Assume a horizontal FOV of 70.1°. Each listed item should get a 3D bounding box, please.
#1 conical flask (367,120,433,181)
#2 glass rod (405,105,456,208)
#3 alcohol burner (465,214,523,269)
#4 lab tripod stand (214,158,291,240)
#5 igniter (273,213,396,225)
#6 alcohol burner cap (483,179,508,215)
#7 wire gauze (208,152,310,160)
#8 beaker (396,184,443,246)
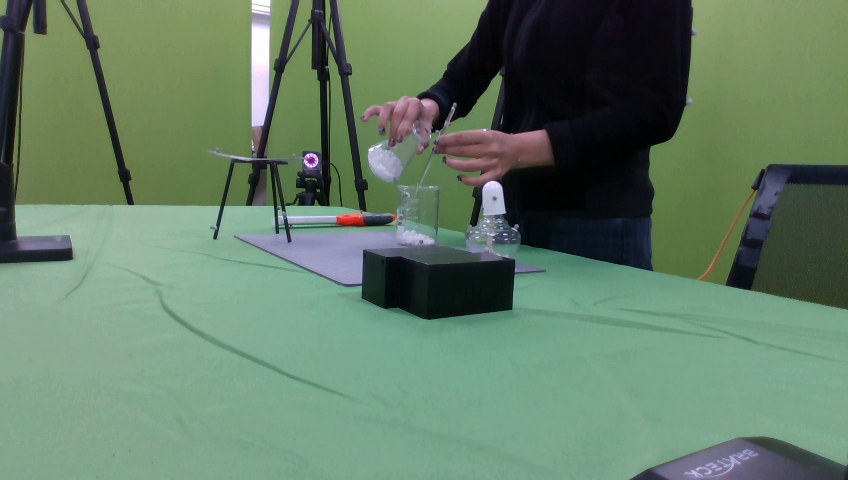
[{"bbox_3d":[-0.036,-0.157,1.019,0.076,0.075,0.121,-4,-19,-42],"label":"conical flask"},{"bbox_3d":[0.009,-0.131,0.976,0.008,0.199,0.008,19,33,-13],"label":"glass rod"},{"bbox_3d":[0.094,-0.022,0.815,0.078,0.119,0.078,0,7,0],"label":"alcohol burner"},{"bbox_3d":[-0.268,-0.068,1.002,0.148,0.131,0.148,3,6,0],"label":"lab tripod stand"},{"bbox_3d":[-0.178,-0.044,1.258,0.278,0.025,0.057,-3,-1,-39],"label":"igniter"},{"bbox_3d":[0.094,-0.057,0.810,0.034,0.048,0.034,-8,6,1],"label":"alcohol burner cap"},{"bbox_3d":[-0.270,-0.135,0.993,0.124,0.011,0.122,9,8,41],"label":"wire gauze"},{"bbox_3d":[-0.011,-0.043,1.004,0.083,0.100,0.074,7,9,39],"label":"beaker"}]
